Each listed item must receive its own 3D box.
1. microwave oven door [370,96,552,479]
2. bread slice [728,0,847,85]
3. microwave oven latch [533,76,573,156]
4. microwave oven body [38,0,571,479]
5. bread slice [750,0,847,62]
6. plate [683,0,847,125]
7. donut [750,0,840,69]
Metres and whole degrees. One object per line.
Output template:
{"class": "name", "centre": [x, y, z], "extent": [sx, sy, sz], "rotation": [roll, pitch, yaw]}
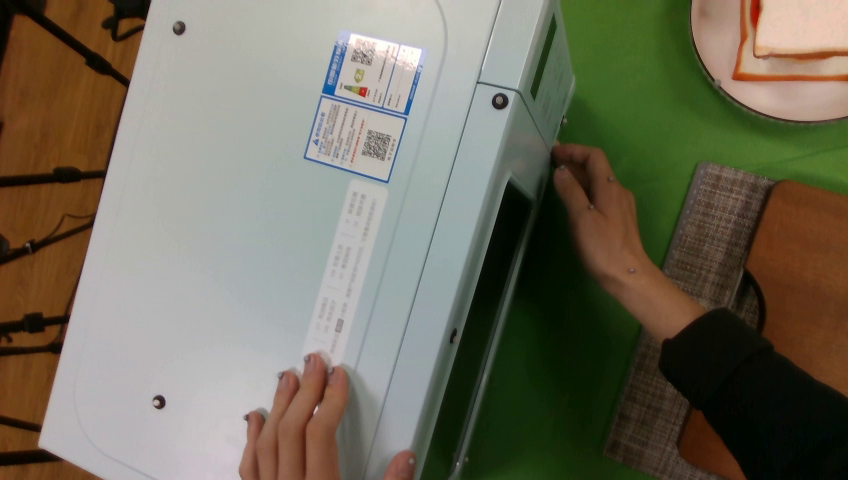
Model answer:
{"class": "microwave oven door", "centre": [0.030, 0.083, 0.505], "extent": [0.039, 0.245, 0.355], "rotation": [16, 92, 18]}
{"class": "bread slice", "centre": [0.338, -0.207, 0.551], "extent": [0.104, 0.019, 0.131], "rotation": [3, 89, 16]}
{"class": "microwave oven latch", "centre": [0.122, -0.123, 0.593], "extent": [0.030, 0.029, 0.079], "rotation": [22, 94, 16]}
{"class": "microwave oven body", "centre": [-0.090, 0.003, 0.551], "extent": [0.324, 0.261, 0.441], "rotation": [17, 93, 17]}
{"class": "bread slice", "centre": [0.324, -0.208, 0.493], "extent": [0.106, 0.018, 0.134], "rotation": [0, 81, 18]}
{"class": "plate", "centre": [0.344, -0.204, 0.548], "extent": [0.207, 0.039, 0.207], "rotation": [-1, 87, 17]}
{"class": "donut", "centre": [0.333, -0.198, 0.521], "extent": [0.099, 0.048, 0.099], "rotation": [1, 94, 12]}
